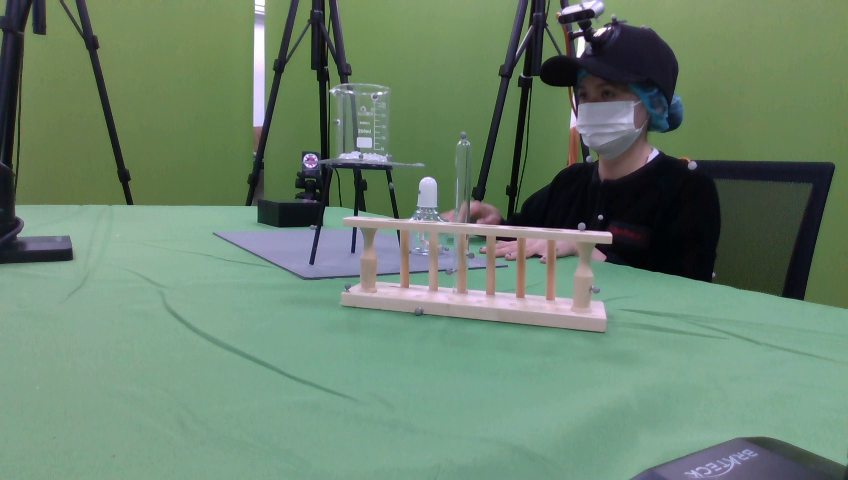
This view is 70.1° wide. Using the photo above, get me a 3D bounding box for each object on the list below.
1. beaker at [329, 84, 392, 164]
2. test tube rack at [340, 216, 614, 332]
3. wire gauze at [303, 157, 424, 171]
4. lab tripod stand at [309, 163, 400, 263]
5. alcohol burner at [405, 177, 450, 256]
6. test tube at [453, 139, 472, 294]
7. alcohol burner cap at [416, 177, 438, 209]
[{"bbox_3d":[-0.084,-0.149,0.794,0.084,0.100,0.073,-1,6,-23],"label":"beaker"},{"bbox_3d":[0.048,0.026,0.568,0.242,0.085,0.067,4,7,13],"label":"test tube rack"},{"bbox_3d":[-0.082,-0.101,0.799,0.126,0.011,0.121,1,7,-30],"label":"wire gauze"},{"bbox_3d":[-0.091,-0.037,0.813,0.148,0.131,0.148,1,6,0],"label":"lab tripod stand"},{"bbox_3d":[0.004,-0.036,0.917,0.078,0.119,0.078,3,6,0],"label":"alcohol burner"},{"bbox_3d":[0.037,-0.021,0.584,0.017,0.150,0.017,1,7,0],"label":"test tube"},{"bbox_3d":[0.005,-0.072,0.914,0.034,0.048,0.034,3,9,0],"label":"alcohol burner cap"}]
